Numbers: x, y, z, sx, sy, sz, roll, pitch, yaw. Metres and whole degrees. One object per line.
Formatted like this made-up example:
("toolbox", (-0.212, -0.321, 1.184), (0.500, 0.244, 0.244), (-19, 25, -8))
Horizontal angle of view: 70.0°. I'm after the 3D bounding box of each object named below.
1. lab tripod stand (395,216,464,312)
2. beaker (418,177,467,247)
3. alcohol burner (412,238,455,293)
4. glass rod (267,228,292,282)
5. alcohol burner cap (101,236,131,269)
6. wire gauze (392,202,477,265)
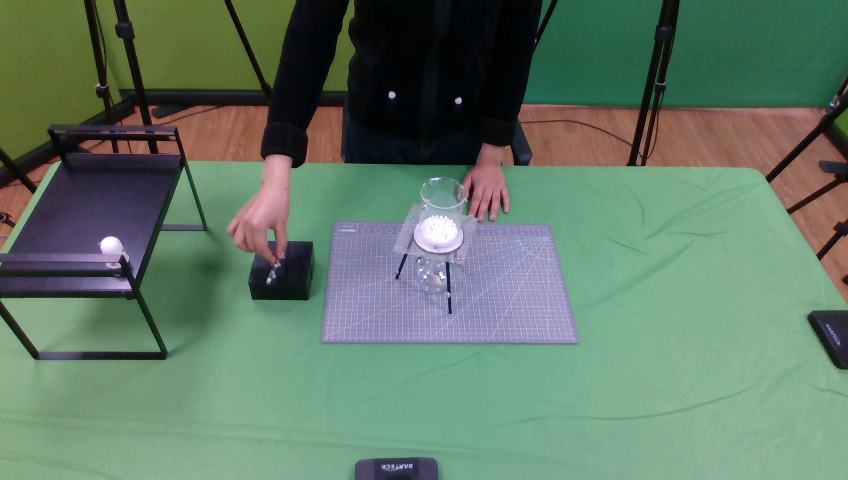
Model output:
("lab tripod stand", (0.023, 0.037, 1.084), (0.148, 0.132, 0.147), (3, 47, -3))
("beaker", (0.026, -0.045, 1.004), (0.074, 0.101, 0.083), (-20, 51, -22))
("alcohol burner", (0.019, 0.040, 1.094), (0.078, 0.119, 0.077), (3, 45, -3))
("glass rod", (-0.253, 0.023, 1.069), (0.008, 0.008, 0.198), (2, 25, -2))
("alcohol burner cap", (-0.452, 0.016, 0.883), (0.034, 0.048, 0.033), (2, 47, -1))
("wire gauze", (0.021, -0.011, 1.037), (0.121, 0.011, 0.124), (13, 49, 8))
